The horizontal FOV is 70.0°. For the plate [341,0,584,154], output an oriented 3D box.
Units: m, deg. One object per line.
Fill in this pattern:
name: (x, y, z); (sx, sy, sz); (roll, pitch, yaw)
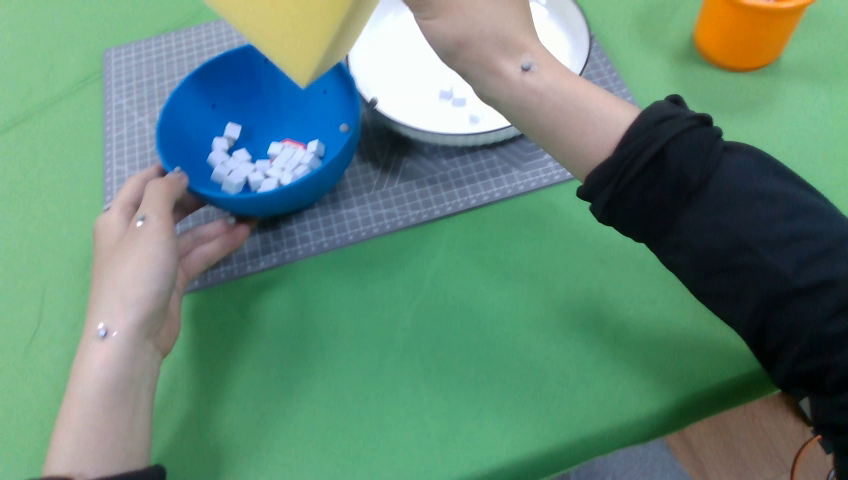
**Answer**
plate: (0.032, -0.154, 0.534); (0.209, 0.038, 0.207); (-2, 60, 4)

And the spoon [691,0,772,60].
spoon: (0.302, -0.219, 0.486); (0.022, 0.194, 0.041); (5, 51, -45)

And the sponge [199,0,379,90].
sponge: (-0.060, -0.201, 0.340); (0.118, 0.207, 0.060); (41, 46, -7)

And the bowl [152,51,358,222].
bowl: (-0.120, -0.067, 0.473); (0.151, 0.077, 0.150); (-2, 59, 4)
